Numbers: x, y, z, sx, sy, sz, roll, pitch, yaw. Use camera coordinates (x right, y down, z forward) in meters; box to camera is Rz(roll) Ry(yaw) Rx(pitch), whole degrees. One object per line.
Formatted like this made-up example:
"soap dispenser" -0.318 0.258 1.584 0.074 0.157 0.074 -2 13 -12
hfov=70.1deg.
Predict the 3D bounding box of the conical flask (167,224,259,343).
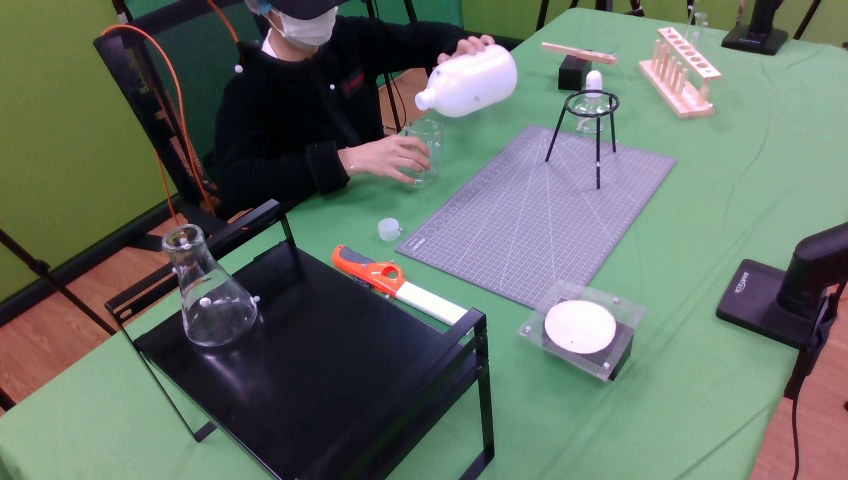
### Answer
"conical flask" -0.220 0.041 0.613 0.075 0.122 0.075 -5 40 4

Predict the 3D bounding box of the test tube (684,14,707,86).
"test tube" 0.541 -0.379 1.216 0.017 0.151 0.017 -2 44 2

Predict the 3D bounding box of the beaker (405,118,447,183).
"beaker" 0.004 -0.164 1.109 0.073 0.100 0.084 23 37 26

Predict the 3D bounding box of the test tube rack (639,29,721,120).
"test tube rack" 0.527 -0.351 1.262 0.067 0.085 0.241 -8 40 1

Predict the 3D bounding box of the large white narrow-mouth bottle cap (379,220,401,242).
"large white narrow-mouth bottle cap" -0.057 -0.015 1.011 0.038 0.024 0.037 -4 40 4

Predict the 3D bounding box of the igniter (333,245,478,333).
"igniter" -0.038 0.068 0.905 0.274 0.025 0.057 24 60 32

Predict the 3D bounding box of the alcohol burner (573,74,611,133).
"alcohol burner" 0.330 -0.270 1.176 0.078 0.119 0.077 -4 43 4

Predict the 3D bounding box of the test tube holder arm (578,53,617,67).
"test tube holder arm" 0.376 -0.393 1.314 0.087 0.015 0.010 26 51 32

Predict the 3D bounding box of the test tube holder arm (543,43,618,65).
"test tube holder arm" 0.345 -0.413 1.341 0.177 0.015 0.013 25 50 31

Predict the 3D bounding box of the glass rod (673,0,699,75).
"glass rod" 0.541 -0.427 1.246 0.008 0.200 0.008 0 48 1

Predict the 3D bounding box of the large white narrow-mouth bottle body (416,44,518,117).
"large white narrow-mouth bottle body" 0.071 -0.282 1.107 0.195 0.102 0.101 -29 44 -22

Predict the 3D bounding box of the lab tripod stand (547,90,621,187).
"lab tripod stand" 0.289 -0.184 1.062 0.148 0.132 0.147 -6 41 6

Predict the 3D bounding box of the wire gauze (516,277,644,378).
"wire gauze" 0.197 0.103 0.765 0.124 0.011 0.122 23 50 32

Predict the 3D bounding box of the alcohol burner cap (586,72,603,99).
"alcohol burner cap" 0.325 -0.297 1.154 0.034 0.048 0.033 -8 35 6
